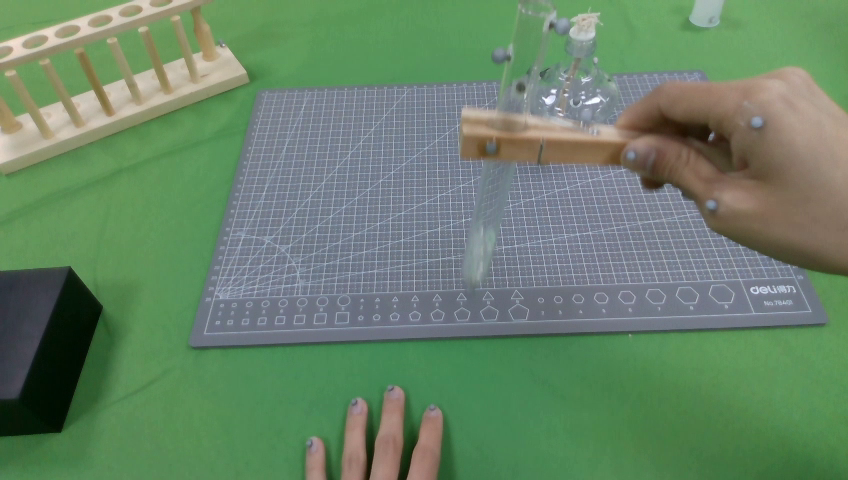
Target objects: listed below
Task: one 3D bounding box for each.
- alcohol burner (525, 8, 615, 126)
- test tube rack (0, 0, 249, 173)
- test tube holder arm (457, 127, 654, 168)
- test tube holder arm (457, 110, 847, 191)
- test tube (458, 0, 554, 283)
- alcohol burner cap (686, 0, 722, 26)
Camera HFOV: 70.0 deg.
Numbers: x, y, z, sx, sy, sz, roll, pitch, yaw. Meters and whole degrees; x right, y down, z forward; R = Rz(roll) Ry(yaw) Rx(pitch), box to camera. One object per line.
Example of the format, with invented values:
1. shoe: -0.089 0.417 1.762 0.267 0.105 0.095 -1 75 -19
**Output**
1. alcohol burner: 0.127 -0.140 0.516 0.078 0.120 0.077 -1 49 2
2. test tube rack: -0.304 -0.161 0.579 0.242 0.086 0.066 -27 54 -18
3. test tube holder arm: 0.059 -0.041 0.272 0.088 0.015 0.010 1 44 -6
4. test tube holder arm: 0.104 -0.041 0.279 0.178 0.015 0.013 7 44 -1
5. test tube: 0.034 -0.035 0.284 0.017 0.151 0.017 5 41 -4
6. alcohol burner cap: 0.307 -0.260 0.655 0.034 0.048 0.033 -3 51 4
